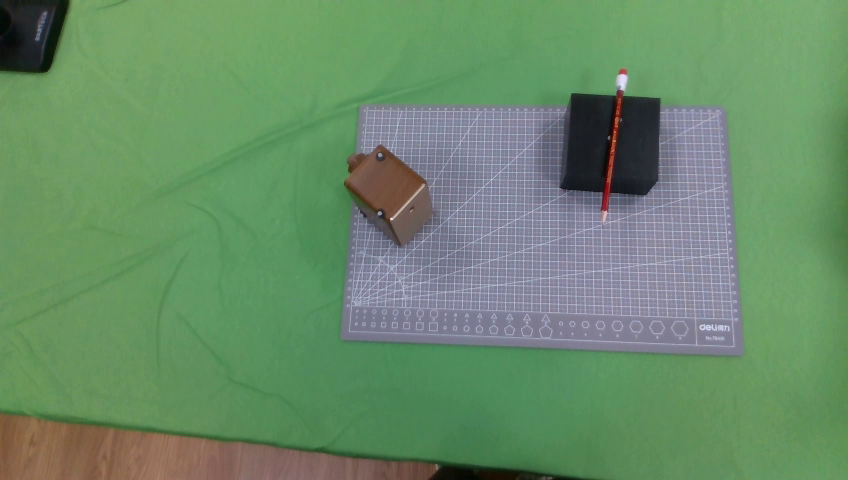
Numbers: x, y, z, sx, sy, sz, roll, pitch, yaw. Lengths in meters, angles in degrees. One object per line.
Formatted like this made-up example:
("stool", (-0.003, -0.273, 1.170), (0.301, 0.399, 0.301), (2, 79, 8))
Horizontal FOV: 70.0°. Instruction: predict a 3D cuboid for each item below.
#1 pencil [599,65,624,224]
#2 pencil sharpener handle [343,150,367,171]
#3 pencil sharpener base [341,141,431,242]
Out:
("pencil", (0.208, -0.109, 0.676), (0.012, 0.012, 0.193), (9, 76, 7))
("pencil sharpener handle", (-0.079, -0.090, 0.682), (0.030, 0.068, 0.036), (40, 90, 14))
("pencil sharpener base", (-0.042, -0.053, 0.683), (0.076, 0.107, 0.061), (40, 82, 13))
